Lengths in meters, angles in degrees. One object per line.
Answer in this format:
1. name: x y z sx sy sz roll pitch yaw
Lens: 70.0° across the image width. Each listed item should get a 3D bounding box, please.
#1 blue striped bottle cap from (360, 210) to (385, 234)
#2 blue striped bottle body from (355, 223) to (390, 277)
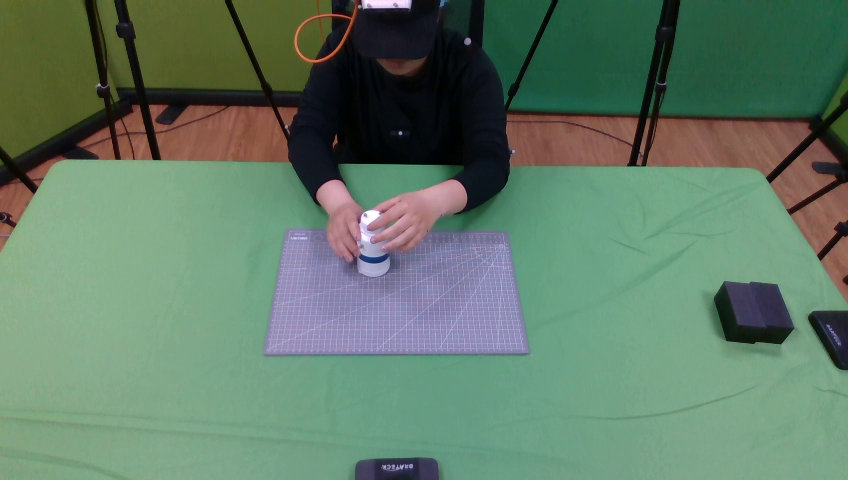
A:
1. blue striped bottle cap: -0.091 -0.032 1.072 0.044 0.021 0.044 5 43 -4
2. blue striped bottle body: -0.095 0.007 1.112 0.063 0.121 0.062 2 46 -2
